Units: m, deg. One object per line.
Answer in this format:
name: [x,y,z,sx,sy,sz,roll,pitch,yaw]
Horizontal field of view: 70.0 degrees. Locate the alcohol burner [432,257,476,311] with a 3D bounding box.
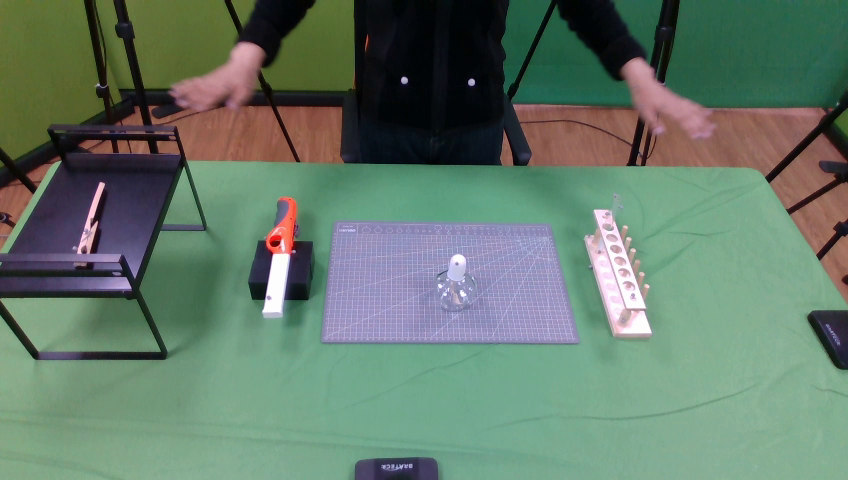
alcohol burner: [0.055,0.070,1.068,0.078,0.119,0.077,3,45,-3]

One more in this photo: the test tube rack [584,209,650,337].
test tube rack: [0.365,0.056,1.129,0.067,0.085,0.240,1,46,-4]

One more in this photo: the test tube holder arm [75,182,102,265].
test tube holder arm: [-0.518,-0.030,0.937,0.013,0.015,0.177,25,33,-37]

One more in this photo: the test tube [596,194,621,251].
test tube: [0.346,-0.029,1.141,0.017,0.151,0.017,0,50,0]

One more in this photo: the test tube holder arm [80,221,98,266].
test tube holder arm: [-0.503,0.004,0.910,0.010,0.015,0.087,26,32,-36]

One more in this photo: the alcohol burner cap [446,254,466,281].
alcohol burner cap: [0.058,0.044,1.042,0.034,0.048,0.033,4,45,-4]

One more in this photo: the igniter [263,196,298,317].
igniter: [-0.259,0.020,1.089,0.057,0.025,0.274,-2,49,-3]
